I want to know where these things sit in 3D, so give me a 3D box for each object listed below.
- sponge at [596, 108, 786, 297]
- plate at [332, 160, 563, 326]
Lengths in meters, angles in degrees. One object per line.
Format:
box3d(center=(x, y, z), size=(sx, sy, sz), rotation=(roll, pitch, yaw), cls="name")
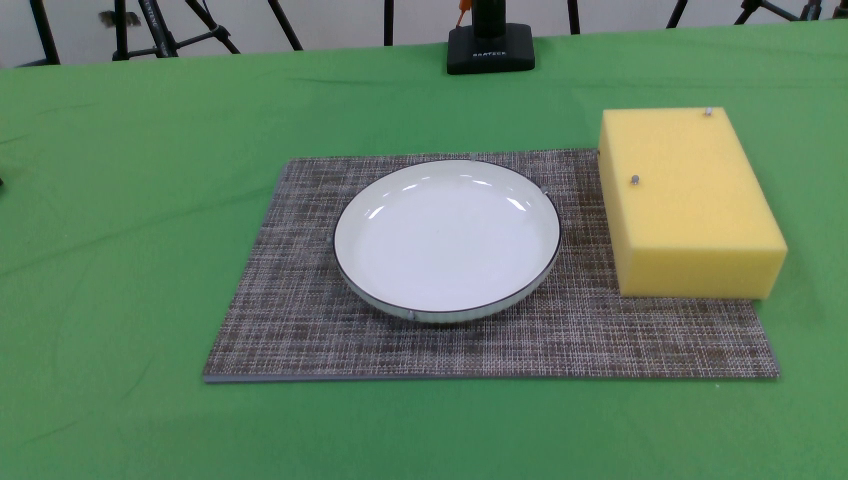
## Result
box3d(center=(0.232, -0.043, 0.560), size=(0.118, 0.061, 0.205), rotation=(0, 43, 7), cls="sponge")
box3d(center=(0.022, 0.001, 0.559), size=(0.207, 0.039, 0.205), rotation=(-4, 43, 4), cls="plate")
